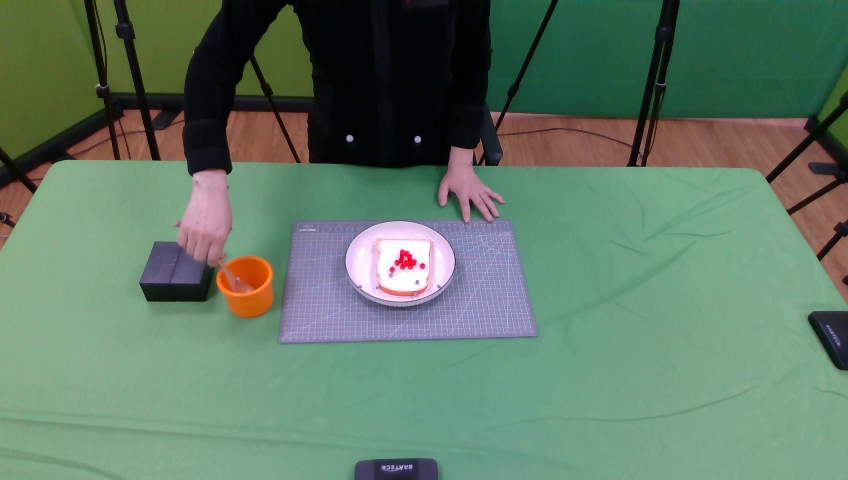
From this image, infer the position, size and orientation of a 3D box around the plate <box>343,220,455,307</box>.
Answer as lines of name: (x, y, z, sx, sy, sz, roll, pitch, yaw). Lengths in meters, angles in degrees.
plate: (-0.047, 0.046, 1.135, 0.209, 0.038, 0.208, 2, 46, -2)

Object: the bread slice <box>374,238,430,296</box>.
bread slice: (-0.039, 0.048, 1.135, 0.107, 0.018, 0.133, -1, 47, -4)

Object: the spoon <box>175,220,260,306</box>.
spoon: (-0.345, 0.038, 1.017, 0.021, 0.194, 0.041, -23, 24, 27)
